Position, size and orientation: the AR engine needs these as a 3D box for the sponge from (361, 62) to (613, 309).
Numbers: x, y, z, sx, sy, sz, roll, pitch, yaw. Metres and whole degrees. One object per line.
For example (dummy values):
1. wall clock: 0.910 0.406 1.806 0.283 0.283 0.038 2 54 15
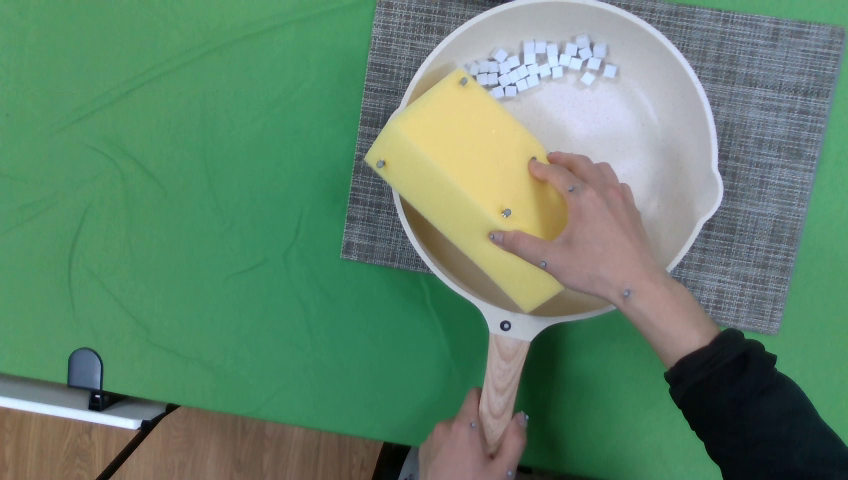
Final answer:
1. sponge: 0.061 -0.052 0.556 0.207 0.118 0.061 43 142 -2

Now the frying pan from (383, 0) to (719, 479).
1. frying pan: 0.090 0.026 0.572 0.306 0.103 0.487 13 89 5
